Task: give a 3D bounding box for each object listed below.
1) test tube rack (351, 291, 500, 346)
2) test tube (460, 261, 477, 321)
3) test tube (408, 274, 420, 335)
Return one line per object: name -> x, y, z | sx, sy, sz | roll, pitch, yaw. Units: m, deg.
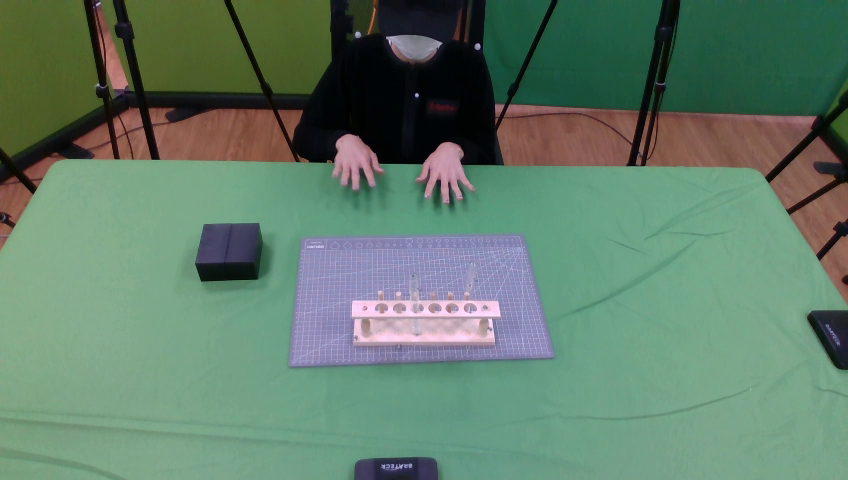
test tube rack -> 0.000, 0.129, 1.026 | 0.242, 0.085, 0.066 | 1, 46, -4
test tube -> 0.073, 0.087, 1.010 | 0.017, 0.151, 0.017 | 2, 47, -2
test tube -> -0.016, 0.107, 0.977 | 0.017, 0.151, 0.017 | 0, 48, 1
